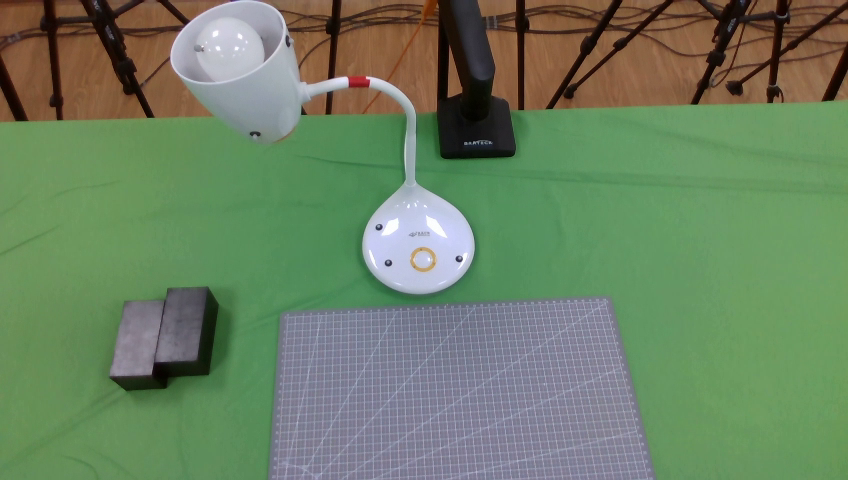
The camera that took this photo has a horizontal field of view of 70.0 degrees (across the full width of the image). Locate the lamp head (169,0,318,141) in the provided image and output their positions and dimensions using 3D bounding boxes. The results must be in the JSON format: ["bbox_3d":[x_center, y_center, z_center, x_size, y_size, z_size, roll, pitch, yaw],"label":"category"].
[{"bbox_3d":[-0.170,-0.160,0.606,0.112,0.124,0.111,-7,60,12],"label":"lamp head"}]

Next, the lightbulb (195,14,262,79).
[{"bbox_3d":[-0.178,-0.167,0.583,0.059,0.108,0.059,-3,64,6],"label":"lightbulb"}]

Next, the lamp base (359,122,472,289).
[{"bbox_3d":[-0.014,-0.053,0.800,0.161,0.182,0.177,-14,58,-10],"label":"lamp base"}]
